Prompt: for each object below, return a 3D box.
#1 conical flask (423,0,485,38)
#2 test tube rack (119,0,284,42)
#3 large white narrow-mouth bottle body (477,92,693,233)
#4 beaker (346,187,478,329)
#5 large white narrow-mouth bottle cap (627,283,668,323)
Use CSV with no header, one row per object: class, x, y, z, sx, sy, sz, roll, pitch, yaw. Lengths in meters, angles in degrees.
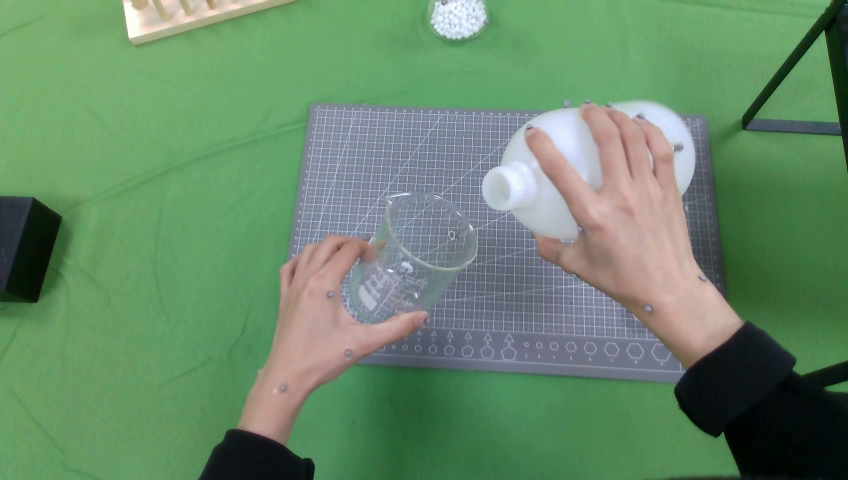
conical flask,0.034,-0.296,0.687,0.075,0.123,0.075,-1,69,3
test tube rack,-0.259,-0.323,0.728,0.242,0.086,0.066,-17,70,-4
large white narrow-mouth bottle body,0.118,-0.057,0.470,0.195,0.102,0.101,-17,65,-38
beaker,-0.017,0.017,0.479,0.084,0.100,0.074,40,44,5
large white narrow-mouth bottle cap,0.220,0.063,0.598,0.038,0.024,0.037,-1,70,4
